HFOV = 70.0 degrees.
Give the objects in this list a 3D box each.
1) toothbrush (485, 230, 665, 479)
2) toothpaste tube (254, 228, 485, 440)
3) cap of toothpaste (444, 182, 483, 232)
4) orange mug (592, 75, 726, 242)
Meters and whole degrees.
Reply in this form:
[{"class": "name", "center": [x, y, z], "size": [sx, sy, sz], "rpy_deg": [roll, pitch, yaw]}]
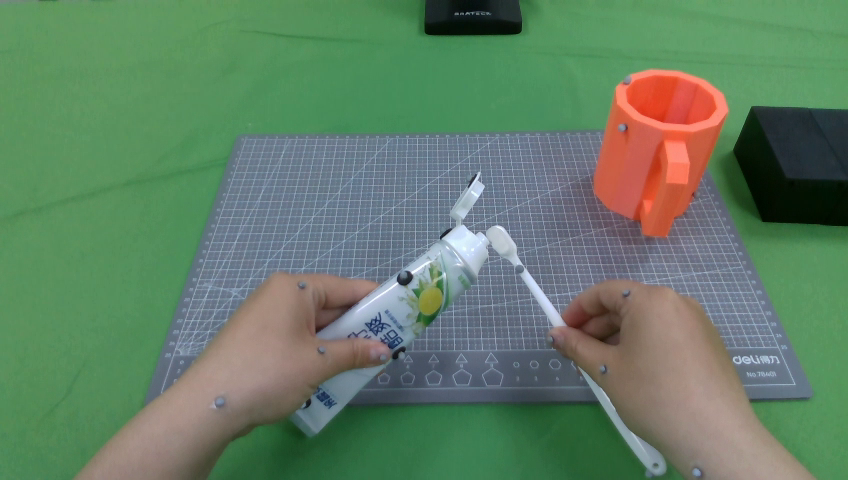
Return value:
[{"class": "toothbrush", "center": [0.091, 0.067, 0.377], "size": [0.014, 0.017, 0.181], "rpy_deg": [-36, 77, 9]}, {"class": "toothpaste tube", "center": [-0.025, 0.052, 0.377], "size": [0.165, 0.055, 0.034], "rpy_deg": [-42, 19, -8]}, {"class": "cap of toothpaste", "center": [0.027, -0.021, 0.390], "size": [0.011, 0.037, 0.037], "rpy_deg": [34, 53, 3]}, {"class": "orange mug", "center": [0.191, -0.063, 0.499], "size": [0.083, 0.102, 0.125], "rpy_deg": [5, 43, 7]}]
